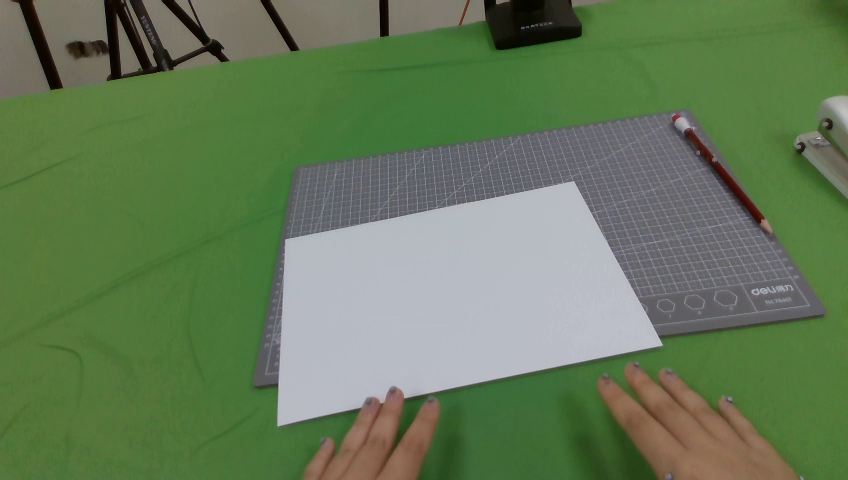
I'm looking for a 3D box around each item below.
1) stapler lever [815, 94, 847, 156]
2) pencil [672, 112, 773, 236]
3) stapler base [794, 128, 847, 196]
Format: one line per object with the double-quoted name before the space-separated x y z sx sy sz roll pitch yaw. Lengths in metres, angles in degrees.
"stapler lever" 0.394 -0.088 0.542 0.027 0.040 0.117 -13 45 1
"pencil" 0.286 -0.070 0.588 0.012 0.012 0.192 -11 45 0
"stapler base" 0.397 -0.071 0.561 0.041 0.025 0.129 -13 45 1
